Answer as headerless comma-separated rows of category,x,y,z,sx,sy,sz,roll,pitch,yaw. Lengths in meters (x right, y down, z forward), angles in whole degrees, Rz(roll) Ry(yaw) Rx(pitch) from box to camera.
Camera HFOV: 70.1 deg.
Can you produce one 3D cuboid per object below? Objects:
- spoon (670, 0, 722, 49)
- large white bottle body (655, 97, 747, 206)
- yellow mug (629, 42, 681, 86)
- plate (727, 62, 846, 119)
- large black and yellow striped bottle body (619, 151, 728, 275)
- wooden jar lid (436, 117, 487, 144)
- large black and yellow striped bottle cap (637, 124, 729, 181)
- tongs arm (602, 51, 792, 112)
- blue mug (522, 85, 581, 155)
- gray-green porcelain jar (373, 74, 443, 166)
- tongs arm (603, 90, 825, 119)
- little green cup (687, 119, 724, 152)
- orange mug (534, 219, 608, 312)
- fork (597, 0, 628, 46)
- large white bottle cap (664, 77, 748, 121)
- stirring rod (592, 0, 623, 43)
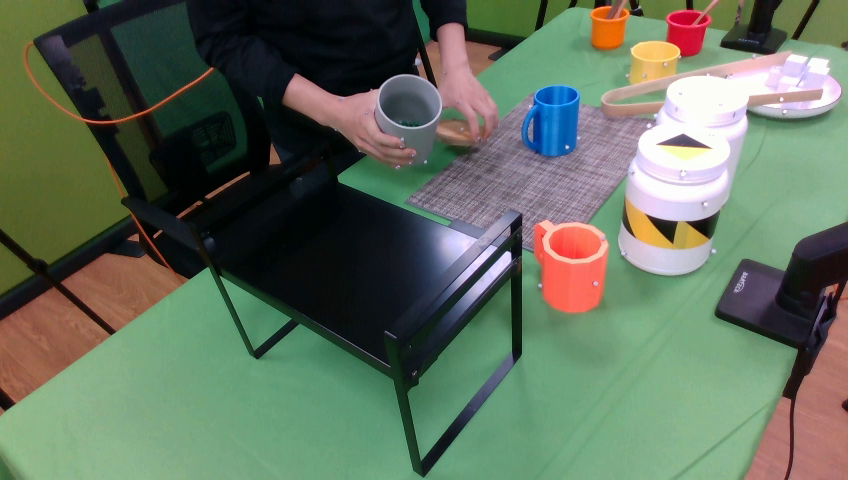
spoon,0.639,-0.510,1.380,0.193,0.022,0.041,-49,40,19
large white bottle body,0.430,-0.148,0.959,0.130,0.185,0.130,-4,41,4
yellow mug,0.495,-0.388,1.322,0.100,0.064,0.130,-14,40,-6
plate,0.709,-0.292,1.197,0.207,0.039,0.206,-4,40,4
large black and yellow striped bottle body,0.354,-0.056,0.865,0.131,0.185,0.130,-4,41,4
wooden jar lid,0.066,-0.209,1.156,0.108,0.021,0.108,5,29,-2
large black and yellow striped bottle cap,0.346,-0.119,0.810,0.115,0.019,0.114,-5,41,5
tongs arm,0.552,-0.319,1.224,0.384,0.027,0.050,-10,44,7
blue mug,0.233,-0.218,1.127,0.117,0.106,0.081,-23,43,-16
gray-green porcelain jar,-0.030,-0.193,1.004,0.106,0.126,0.105,4,65,-7
tongs arm,0.546,-0.262,1.163,0.386,0.028,0.028,-1,49,18
little green cup,0.514,-0.191,1.109,0.061,0.039,0.061,-5,40,5
orange mug,0.200,0.027,0.858,0.084,0.101,0.125,-24,47,-18
fork,0.479,-0.558,1.455,0.028,0.019,0.207,35,100,38
large white bottle cap,0.421,-0.212,0.905,0.115,0.018,0.114,-4,40,4
stirring rod,0.460,-0.557,1.461,0.014,0.176,0.006,35,11,22
